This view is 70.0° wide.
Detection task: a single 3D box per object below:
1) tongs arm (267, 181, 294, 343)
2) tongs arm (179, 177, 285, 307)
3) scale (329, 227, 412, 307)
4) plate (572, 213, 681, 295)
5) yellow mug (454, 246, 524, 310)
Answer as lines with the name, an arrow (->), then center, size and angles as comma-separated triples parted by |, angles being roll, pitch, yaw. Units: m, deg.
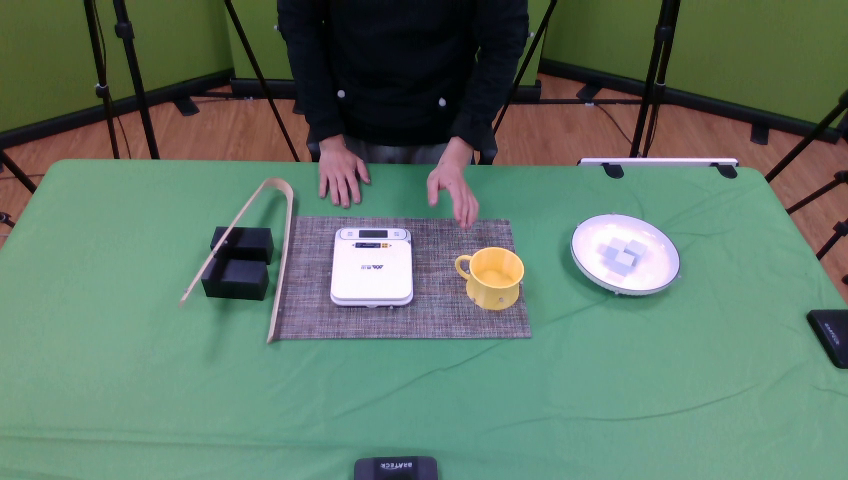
tongs arm -> -0.273, 0.027, 1.144 | 0.028, 0.028, 0.385 | 17, 42, -22
tongs arm -> -0.342, -0.008, 1.118 | 0.051, 0.026, 0.382 | 29, 38, -14
scale -> -0.099, 0.042, 1.139 | 0.149, 0.032, 0.199 | 1, 45, -4
plate -> 0.392, 0.030, 1.189 | 0.208, 0.039, 0.206 | 2, 46, -2
yellow mug -> 0.115, 0.064, 1.111 | 0.130, 0.064, 0.099 | 21, 49, 17
